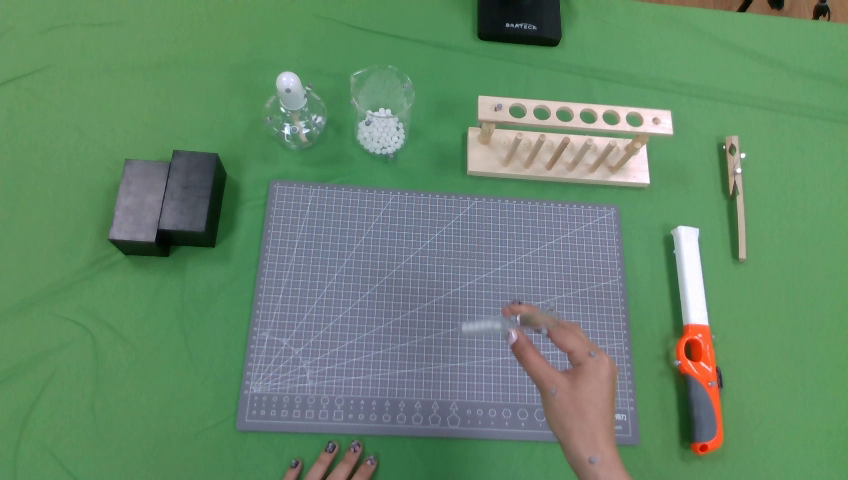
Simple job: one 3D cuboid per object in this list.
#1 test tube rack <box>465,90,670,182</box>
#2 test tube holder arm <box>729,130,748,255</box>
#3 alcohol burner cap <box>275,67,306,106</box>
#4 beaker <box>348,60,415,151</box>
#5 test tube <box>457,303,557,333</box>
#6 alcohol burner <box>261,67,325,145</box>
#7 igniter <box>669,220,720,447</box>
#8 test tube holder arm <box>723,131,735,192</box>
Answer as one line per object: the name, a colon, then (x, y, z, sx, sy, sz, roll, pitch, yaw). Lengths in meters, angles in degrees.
test tube rack: (0.179, -0.130, 0.773, 0.243, 0.085, 0.066, 3, 70, -5)
test tube holder arm: (0.420, -0.066, 0.810, 0.013, 0.015, 0.177, -8, 67, 28)
alcohol burner cap: (-0.156, -0.180, 0.700, 0.034, 0.048, 0.033, 1, 76, -2)
beaker: (-0.057, -0.164, 0.752, 0.084, 0.101, 0.074, 30, 69, 6)
test tube: (0.069, 0.072, 0.548, 0.017, 0.150, 0.017, 6, 76, -25)
alcohol burner: (-0.160, -0.167, 0.734, 0.078, 0.120, 0.077, 2, 68, -5)
igniter: (0.327, 0.107, 0.736, 0.057, 0.025, 0.274, 8, 70, -14)
test tube holder arm: (0.417, -0.107, 0.828, 0.010, 0.015, 0.087, -7, 68, 29)
